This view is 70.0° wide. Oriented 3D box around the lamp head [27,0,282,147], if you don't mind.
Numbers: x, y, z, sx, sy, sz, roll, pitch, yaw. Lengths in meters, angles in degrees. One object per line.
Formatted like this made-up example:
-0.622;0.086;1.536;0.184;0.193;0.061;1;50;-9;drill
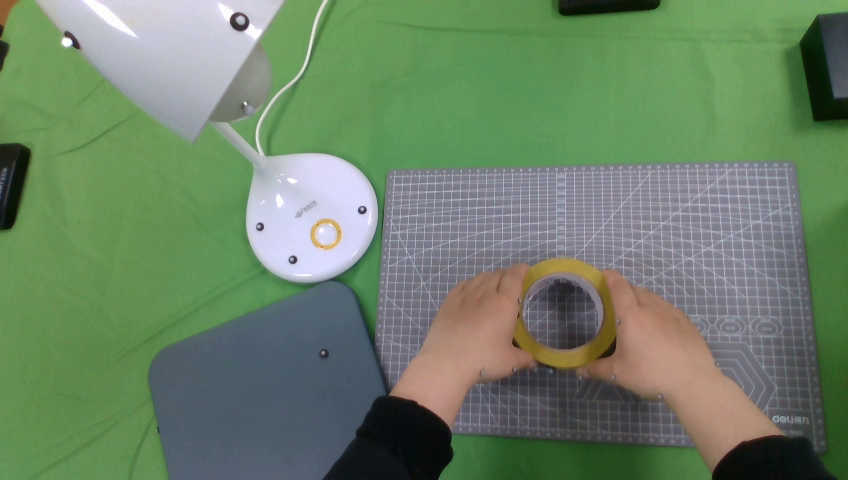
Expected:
-0.162;-0.132;0.359;0.123;0.112;0.112;31;80;-17;lamp head

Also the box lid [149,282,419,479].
-0.146;0.247;0.651;0.263;0.015;0.369;-23;72;4;box lid

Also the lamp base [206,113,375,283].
-0.159;-0.055;0.648;0.178;0.181;0.160;40;84;21;lamp base

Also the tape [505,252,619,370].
0.140;0.073;0.621;0.116;0.053;0.116;-3;73;11;tape
